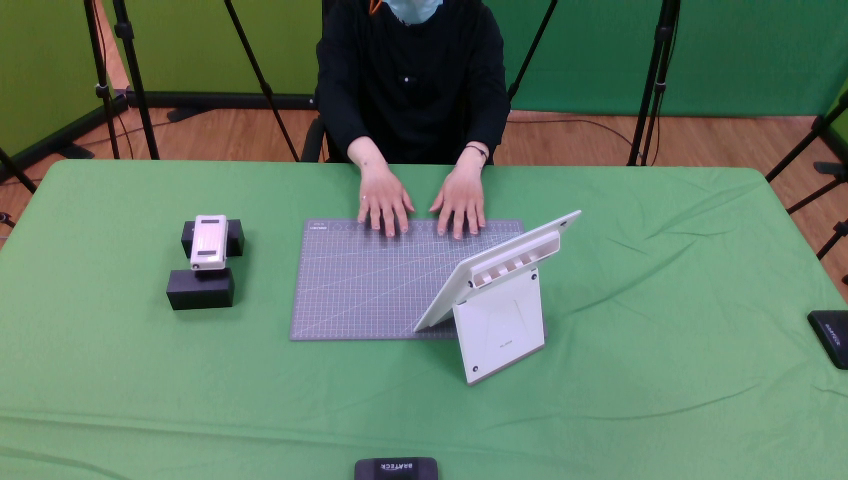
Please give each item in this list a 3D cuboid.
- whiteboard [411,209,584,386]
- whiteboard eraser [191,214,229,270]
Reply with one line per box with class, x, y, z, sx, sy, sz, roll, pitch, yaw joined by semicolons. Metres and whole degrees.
whiteboard;0.134;0.110;0.944;0.217;0.306;0.143;-21;72;-23
whiteboard eraser;-0.381;0.005;1.083;0.056;0.042;0.112;0;50;-13
